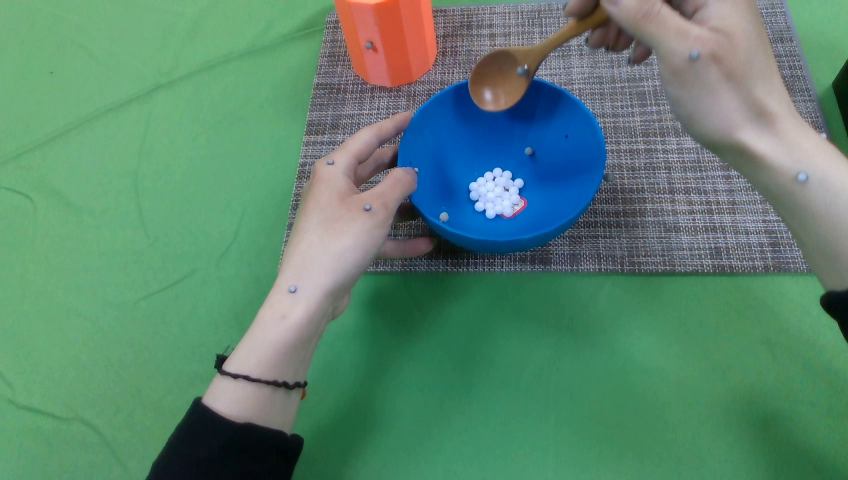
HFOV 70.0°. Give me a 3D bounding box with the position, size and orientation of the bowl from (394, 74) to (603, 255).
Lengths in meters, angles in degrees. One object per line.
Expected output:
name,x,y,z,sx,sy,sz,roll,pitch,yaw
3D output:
bowl,0.056,-0.045,0.467,0.151,0.077,0.150,-3,61,5

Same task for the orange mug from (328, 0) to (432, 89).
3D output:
orange mug,-0.035,-0.221,0.564,0.083,0.101,0.125,11,67,13

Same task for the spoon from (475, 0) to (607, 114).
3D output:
spoon,0.080,-0.121,0.365,0.041,0.194,0.021,-42,92,-24
